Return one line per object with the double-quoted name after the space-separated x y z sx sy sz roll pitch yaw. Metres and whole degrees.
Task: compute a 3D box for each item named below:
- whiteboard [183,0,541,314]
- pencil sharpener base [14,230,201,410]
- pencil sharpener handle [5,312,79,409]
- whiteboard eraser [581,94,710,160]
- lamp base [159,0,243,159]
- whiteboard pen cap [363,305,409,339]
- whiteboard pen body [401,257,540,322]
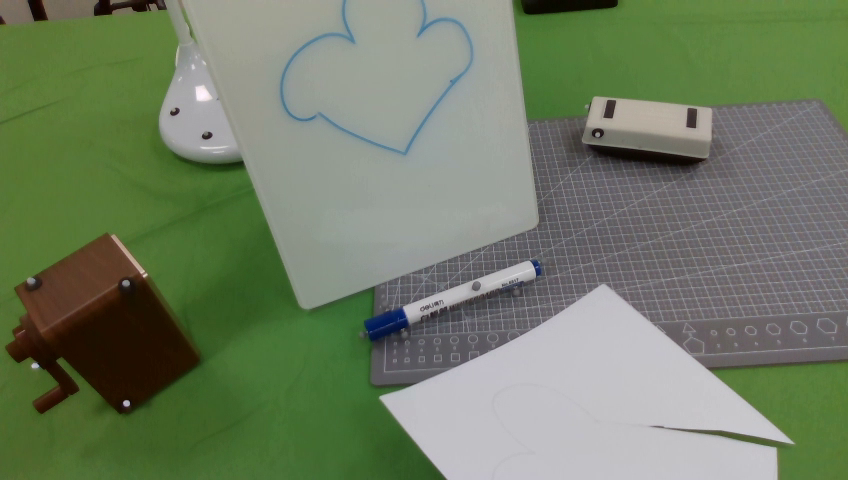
-0.049 -0.134 0.489 0.217 0.308 0.142 -19 30 -10 "whiteboard"
-0.219 0.060 0.426 0.076 0.108 0.061 -37 55 -24 "pencil sharpener base"
-0.255 0.081 0.394 0.030 0.068 0.035 -37 42 -24 "pencil sharpener handle"
0.209 -0.106 0.573 0.112 0.042 0.055 11 51 15 "whiteboard eraser"
-0.221 -0.199 0.607 0.177 0.182 0.160 29 57 30 "lamp base"
-0.029 0.062 0.460 0.033 0.018 0.018 -20 49 -10 "whiteboard pen cap"
0.026 0.042 0.470 0.141 0.017 0.017 -19 49 -10 "whiteboard pen body"
